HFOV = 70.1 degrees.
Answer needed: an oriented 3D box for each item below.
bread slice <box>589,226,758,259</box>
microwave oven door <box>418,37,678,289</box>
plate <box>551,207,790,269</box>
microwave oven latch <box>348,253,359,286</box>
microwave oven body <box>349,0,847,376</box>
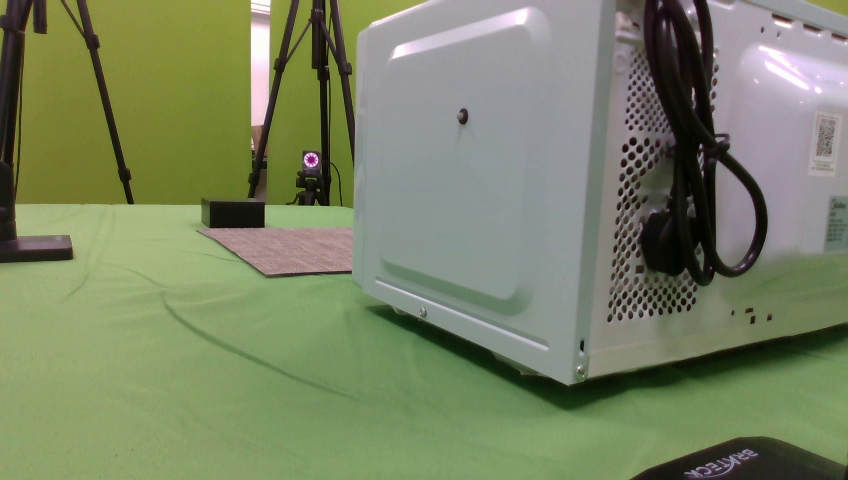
[{"bbox_3d":[0.226,0.001,0.569,0.132,0.019,0.104,4,5,-23],"label":"bread slice"},{"bbox_3d":[0.159,-0.079,0.684,0.358,0.243,0.039,-2,9,-32],"label":"microwave oven door"},{"bbox_3d":[0.224,-0.004,0.572,0.209,0.038,0.209,3,8,0],"label":"plate"},{"bbox_3d":[-0.034,0.028,0.581,0.079,0.029,0.030,-1,7,-32],"label":"microwave oven latch"},{"bbox_3d":[0.199,-0.053,0.540,0.444,0.260,0.324,-1,7,-32],"label":"microwave oven body"}]
